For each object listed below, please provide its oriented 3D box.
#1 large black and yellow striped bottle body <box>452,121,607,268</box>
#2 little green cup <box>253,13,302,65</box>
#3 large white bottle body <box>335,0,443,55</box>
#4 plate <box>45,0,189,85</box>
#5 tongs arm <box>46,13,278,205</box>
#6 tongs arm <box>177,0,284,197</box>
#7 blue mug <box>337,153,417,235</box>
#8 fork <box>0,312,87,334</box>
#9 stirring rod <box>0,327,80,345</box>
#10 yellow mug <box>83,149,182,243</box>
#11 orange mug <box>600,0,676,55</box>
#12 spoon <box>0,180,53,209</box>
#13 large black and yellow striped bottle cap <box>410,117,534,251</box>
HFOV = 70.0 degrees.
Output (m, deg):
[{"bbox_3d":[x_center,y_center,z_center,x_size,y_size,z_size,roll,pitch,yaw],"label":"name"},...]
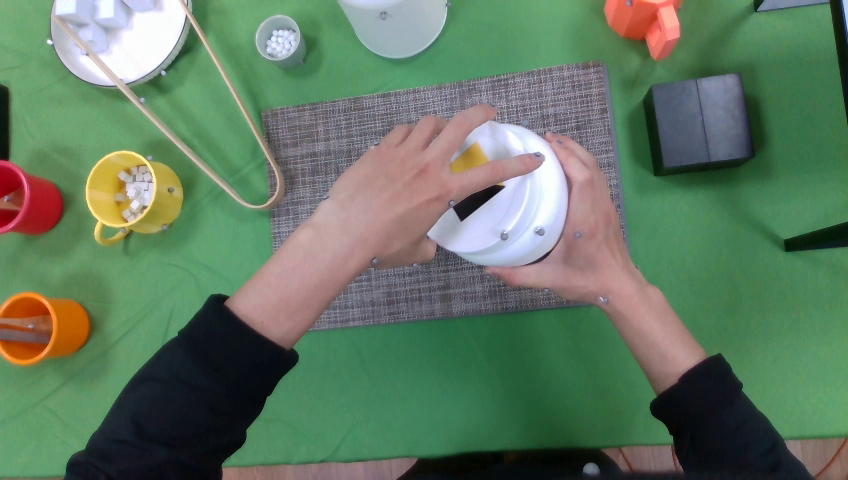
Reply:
[{"bbox_3d":[0.087,-0.040,0.587,0.130,0.185,0.130,-3,84,34],"label":"large black and yellow striped bottle body"},{"bbox_3d":[-0.193,-0.265,0.808,0.061,0.039,0.061,-1,86,7],"label":"little green cup"},{"bbox_3d":[-0.051,-0.317,0.719,0.130,0.185,0.130,-1,84,8],"label":"large white bottle body"},{"bbox_3d":[-0.421,-0.313,0.844,0.207,0.039,0.207,-1,85,8],"label":"plate"},{"bbox_3d":[-0.347,-0.177,0.802,0.051,0.026,0.384,-44,88,-2],"label":"tongs arm"},{"bbox_3d":[-0.281,-0.231,0.801,0.028,0.028,0.387,-30,88,-5],"label":"tongs arm"},{"bbox_3d":[-0.035,-0.047,0.728,0.116,0.106,0.082,19,87,9],"label":"blue mug"},{"bbox_3d":[-0.545,0.100,0.766,0.209,0.018,0.028,11,83,-35],"label":"fork"},{"bbox_3d":[-0.534,0.117,0.766,0.006,0.177,0.014,-22,61,49],"label":"stirring rod"},{"bbox_3d":[-0.393,-0.051,0.802,0.099,0.064,0.131,32,91,9],"label":"yellow mug"},{"bbox_3d":[0.265,-0.289,0.717,0.083,0.101,0.125,-16,78,6],"label":"orange mug"},{"bbox_3d":[-0.591,-0.040,0.789,0.194,0.022,0.041,-24,77,-40],"label":"spoon"},{"bbox_3d":[0.038,-0.048,0.518,0.114,0.019,0.114,-4,83,33],"label":"large black and yellow striped bottle cap"}]
